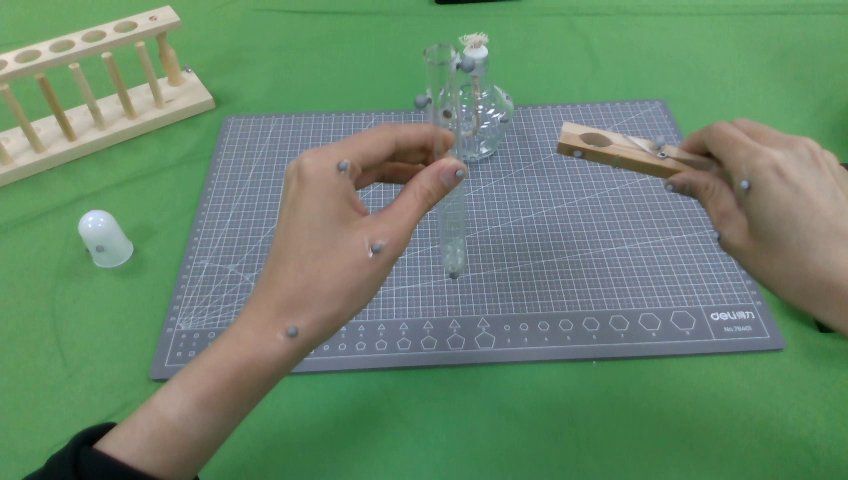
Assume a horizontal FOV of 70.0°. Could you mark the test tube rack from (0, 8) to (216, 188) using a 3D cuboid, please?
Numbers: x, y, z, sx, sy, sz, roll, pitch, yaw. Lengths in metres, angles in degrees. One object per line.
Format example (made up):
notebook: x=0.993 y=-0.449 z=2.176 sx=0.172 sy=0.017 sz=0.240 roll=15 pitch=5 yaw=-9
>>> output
test tube rack: x=-0.334 y=-0.132 z=0.572 sx=0.242 sy=0.086 sz=0.066 roll=-27 pitch=53 yaw=-21

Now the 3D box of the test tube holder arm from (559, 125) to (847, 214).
test tube holder arm: x=0.167 y=-0.041 z=0.355 sx=0.178 sy=0.015 sz=0.013 roll=15 pitch=71 yaw=11

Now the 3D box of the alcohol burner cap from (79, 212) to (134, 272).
alcohol burner cap: x=-0.257 y=-0.001 z=0.485 sx=0.034 sy=0.048 sz=0.033 roll=0 pitch=48 yaw=0

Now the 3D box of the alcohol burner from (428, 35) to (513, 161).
alcohol burner: x=0.043 y=-0.130 z=0.541 sx=0.078 sy=0.120 sz=0.077 roll=1 pitch=50 yaw=0

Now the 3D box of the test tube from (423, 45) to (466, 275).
test tube: x=0.013 y=-0.032 z=0.315 sx=0.017 sy=0.151 sz=0.017 roll=-3 pitch=49 yaw=3

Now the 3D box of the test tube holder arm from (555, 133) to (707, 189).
test tube holder arm: x=0.122 y=-0.047 z=0.361 sx=0.087 sy=0.015 sz=0.010 roll=15 pitch=71 yaw=11
